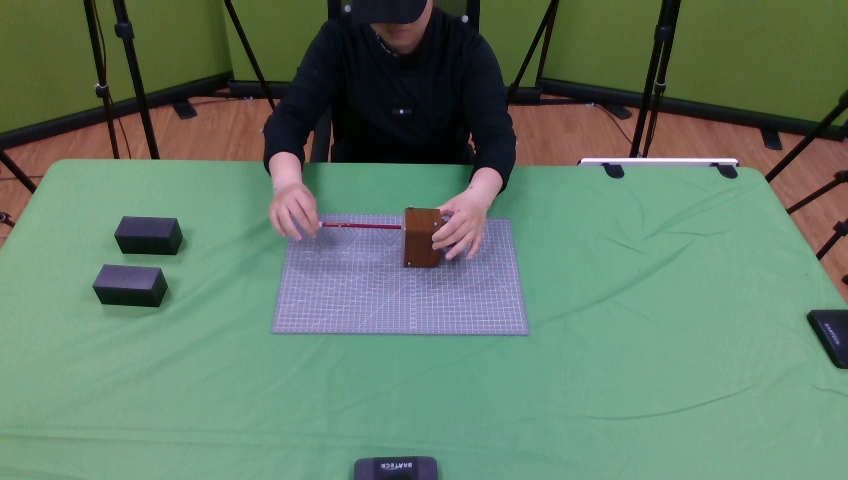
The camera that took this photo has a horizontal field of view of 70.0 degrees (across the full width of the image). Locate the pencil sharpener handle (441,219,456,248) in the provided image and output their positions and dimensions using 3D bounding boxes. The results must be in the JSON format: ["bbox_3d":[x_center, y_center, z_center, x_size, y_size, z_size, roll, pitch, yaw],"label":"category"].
[{"bbox_3d":[0.047,-0.011,1.132,0.031,0.068,0.036,1,46,-4],"label":"pencil sharpener handle"}]

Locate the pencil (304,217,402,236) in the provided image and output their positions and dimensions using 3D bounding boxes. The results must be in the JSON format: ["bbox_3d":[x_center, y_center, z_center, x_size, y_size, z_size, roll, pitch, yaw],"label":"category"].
[{"bbox_3d":[-0.124,-0.023,1.117,0.194,0.012,0.012,9,45,-1],"label":"pencil"}]

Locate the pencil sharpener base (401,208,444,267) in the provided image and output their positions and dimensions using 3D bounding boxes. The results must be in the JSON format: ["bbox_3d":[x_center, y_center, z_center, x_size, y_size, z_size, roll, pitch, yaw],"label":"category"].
[{"bbox_3d":[-0.004,-0.003,1.137,0.077,0.107,0.061,1,45,-4],"label":"pencil sharpener base"}]
